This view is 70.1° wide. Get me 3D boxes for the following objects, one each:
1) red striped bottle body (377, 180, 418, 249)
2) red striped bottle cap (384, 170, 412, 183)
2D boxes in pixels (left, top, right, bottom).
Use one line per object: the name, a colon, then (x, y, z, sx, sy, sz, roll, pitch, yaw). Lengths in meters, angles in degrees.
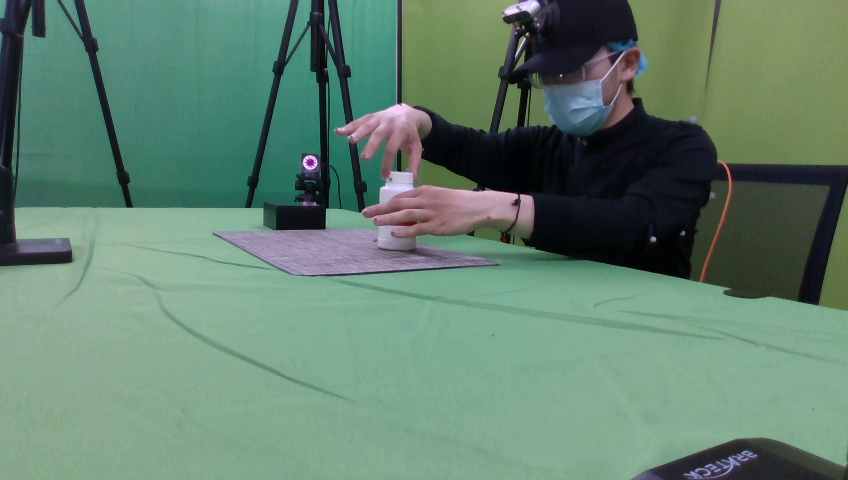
red striped bottle body: (-0.042, -0.048, 0.965, 0.063, 0.119, 0.063, 2, 7, 0)
red striped bottle cap: (-0.040, -0.101, 0.958, 0.044, 0.017, 0.044, 7, 5, 0)
